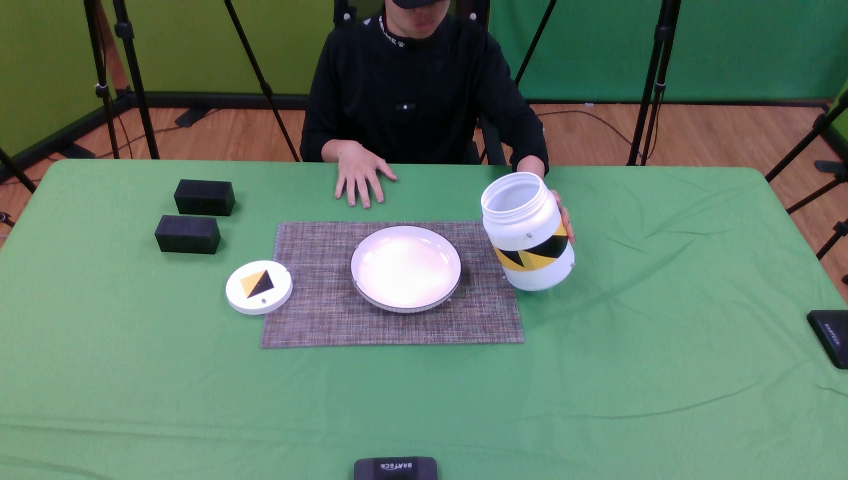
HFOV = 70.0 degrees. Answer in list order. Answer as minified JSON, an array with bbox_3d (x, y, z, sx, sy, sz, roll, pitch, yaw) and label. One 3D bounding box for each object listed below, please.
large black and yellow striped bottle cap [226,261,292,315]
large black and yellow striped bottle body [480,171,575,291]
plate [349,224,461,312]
[{"bbox_3d":[-0.298,0.085,1.092,0.115,0.019,0.114,0,45,1],"label":"large black and yellow striped bottle cap"},{"bbox_3d":[0.179,-0.016,1.056,0.131,0.185,0.130,-18,36,14],"label":"large black and yellow striped bottle body"},{"bbox_3d":[-0.035,0.054,1.126,0.208,0.039,0.206,2,46,-2],"label":"plate"}]
